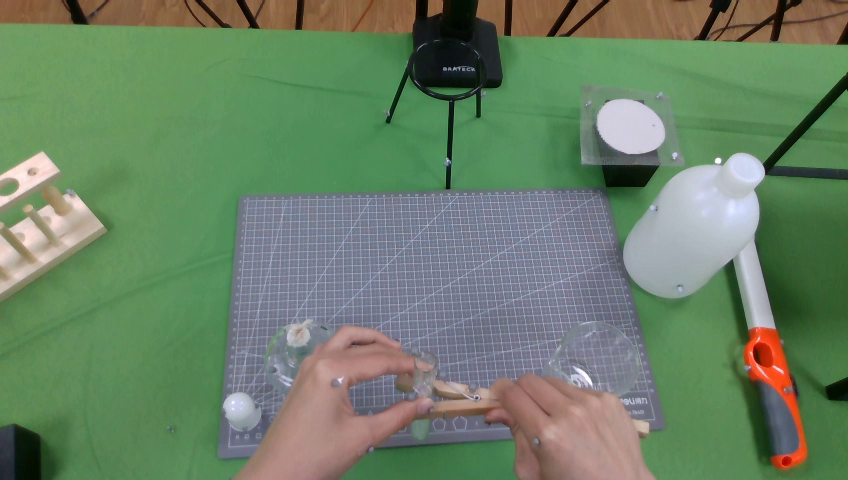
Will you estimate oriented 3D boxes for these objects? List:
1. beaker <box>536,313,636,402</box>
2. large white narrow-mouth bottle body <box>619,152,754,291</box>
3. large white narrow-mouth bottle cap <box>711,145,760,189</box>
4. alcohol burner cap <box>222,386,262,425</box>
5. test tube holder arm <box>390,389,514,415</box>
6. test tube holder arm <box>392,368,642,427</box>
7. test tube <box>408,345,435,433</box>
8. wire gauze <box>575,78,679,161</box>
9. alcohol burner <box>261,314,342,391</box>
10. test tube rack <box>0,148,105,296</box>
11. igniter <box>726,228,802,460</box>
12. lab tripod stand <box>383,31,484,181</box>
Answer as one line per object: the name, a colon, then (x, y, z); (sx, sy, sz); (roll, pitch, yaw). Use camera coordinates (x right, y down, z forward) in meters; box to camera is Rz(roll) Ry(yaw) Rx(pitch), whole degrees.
beaker: (0.152, 0.126, 0.599); (0.084, 0.101, 0.073); (-5, 62, -7)
large white narrow-mouth bottle body: (0.283, -0.026, 0.640); (0.102, 0.196, 0.101); (2, 62, -3)
large white narrow-mouth bottle cap: (0.289, -0.068, 0.565); (0.038, 0.024, 0.037); (2, 62, -3)
alcohol burner cap: (-0.178, 0.158, 0.584); (0.034, 0.048, 0.033); (2, 63, -3)
test tube holder arm: (0.020, 0.115, 0.433); (0.088, 0.015, 0.010); (-5, 59, -2)
test tube holder arm: (0.065, 0.113, 0.434); (0.178, 0.015, 0.013); (7, 60, 5)
test tube: (-0.004, 0.115, 0.447); (0.017, 0.151, 0.017); (1, 56, -2)
wire gauze: (0.248, -0.149, 0.751); (0.121, 0.011, 0.124); (5, 62, -2)
alcohol burner: (-0.118, 0.102, 0.579); (0.078, 0.120, 0.077); (3, 61, -5)
test tube rack: (-0.465, 0.016, 0.611); (0.066, 0.086, 0.242); (43, 67, 16)
igniter: (0.372, 0.102, 0.676); (0.057, 0.025, 0.274); (9, 61, -12)
lab tripod stand: (0.020, -0.165, 0.724); (0.148, 0.132, 0.147); (3, 63, -5)
